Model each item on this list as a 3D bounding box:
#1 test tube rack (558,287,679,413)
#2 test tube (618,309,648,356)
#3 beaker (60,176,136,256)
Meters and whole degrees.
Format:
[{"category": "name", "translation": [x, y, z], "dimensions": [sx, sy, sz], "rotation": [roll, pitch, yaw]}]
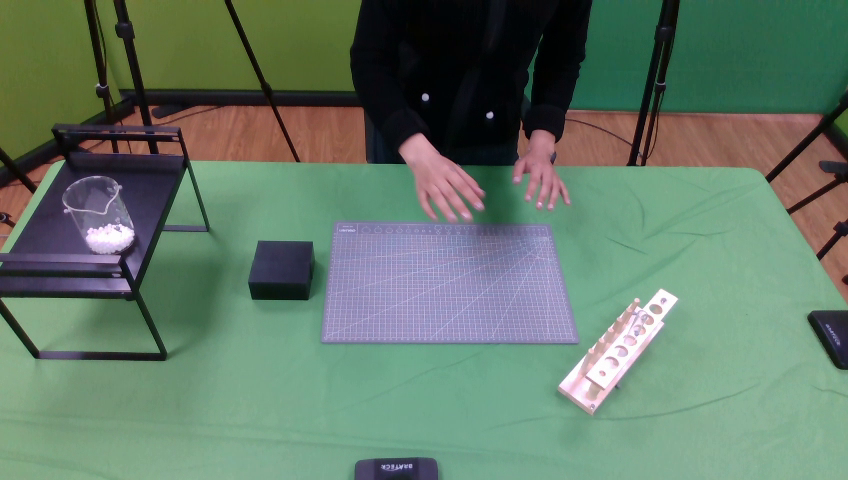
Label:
[{"category": "test tube rack", "translation": [0.326, 0.170, 1.009], "dimensions": [0.066, 0.085, 0.242], "rotation": [35, 54, 26]}, {"category": "test tube", "translation": [0.327, 0.154, 0.955], "dimensions": [0.017, 0.151, 0.017], "rotation": [-1, 51, 1]}, {"category": "beaker", "translation": [-0.470, -0.031, 0.888], "dimensions": [0.074, 0.101, 0.083], "rotation": [-31, 56, -29]}]
